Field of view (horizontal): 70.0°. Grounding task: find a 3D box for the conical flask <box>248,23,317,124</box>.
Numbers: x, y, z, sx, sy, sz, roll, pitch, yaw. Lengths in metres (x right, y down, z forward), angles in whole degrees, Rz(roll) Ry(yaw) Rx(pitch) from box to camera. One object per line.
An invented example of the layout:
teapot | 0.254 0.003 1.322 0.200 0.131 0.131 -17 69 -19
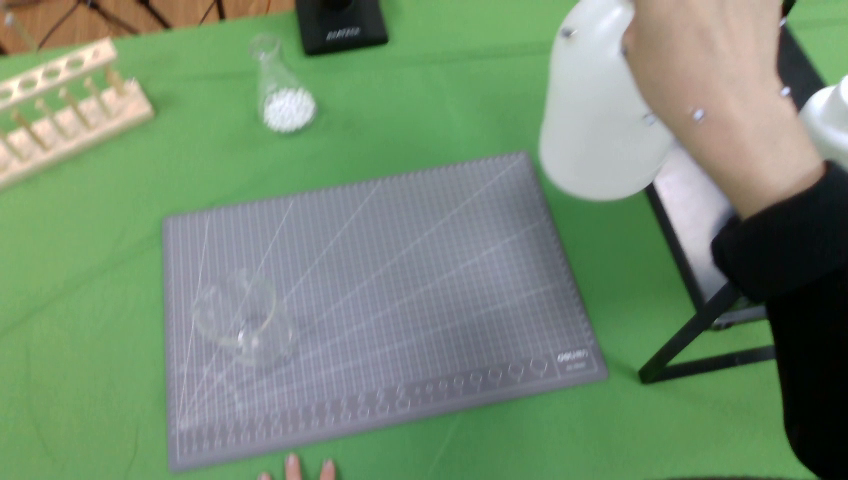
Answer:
conical flask | -0.178 -0.206 0.737 0.075 0.123 0.074 -1 63 2

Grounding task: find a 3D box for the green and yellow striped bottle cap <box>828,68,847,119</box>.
green and yellow striped bottle cap | 0.308 -0.102 0.419 0.045 0.020 0.045 0 66 1

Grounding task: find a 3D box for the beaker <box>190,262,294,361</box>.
beaker | -0.178 0.077 0.608 0.084 0.101 0.073 -2 63 1

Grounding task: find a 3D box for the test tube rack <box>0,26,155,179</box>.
test tube rack | -0.472 -0.160 0.741 0.242 0.086 0.066 -30 67 -13

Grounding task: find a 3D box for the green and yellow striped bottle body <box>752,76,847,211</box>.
green and yellow striped bottle body | 0.310 -0.078 0.465 0.063 0.120 0.062 -1 63 2

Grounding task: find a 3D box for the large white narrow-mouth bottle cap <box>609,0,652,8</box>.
large white narrow-mouth bottle cap | 0.124 -0.159 0.360 0.037 0.024 0.037 -3 62 6

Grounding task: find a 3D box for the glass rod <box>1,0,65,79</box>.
glass rod | -0.452 -0.230 0.701 0.008 0.201 0.008 -2 56 4

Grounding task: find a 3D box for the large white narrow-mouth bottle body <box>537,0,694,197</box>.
large white narrow-mouth bottle body | 0.136 -0.118 0.436 0.102 0.196 0.101 -3 62 6
